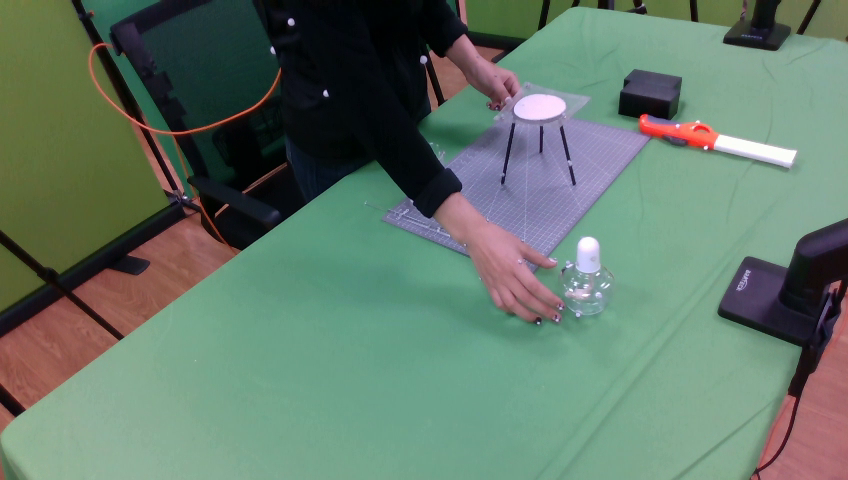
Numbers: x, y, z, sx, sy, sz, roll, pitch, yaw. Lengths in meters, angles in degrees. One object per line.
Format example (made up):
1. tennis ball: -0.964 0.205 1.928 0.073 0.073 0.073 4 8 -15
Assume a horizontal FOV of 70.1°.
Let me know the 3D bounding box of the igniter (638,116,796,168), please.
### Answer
1. igniter: 0.517 -0.181 1.093 0.274 0.025 0.057 23 65 32

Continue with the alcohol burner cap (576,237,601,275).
1. alcohol burner cap: 0.217 0.018 0.792 0.034 0.048 0.033 -7 35 5

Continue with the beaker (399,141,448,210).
1. beaker: 0.003 -0.107 1.043 0.074 0.101 0.083 -19 42 -10

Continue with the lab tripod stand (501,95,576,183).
1. lab tripod stand: 0.204 -0.173 1.056 0.148 0.132 0.147 -4 40 4

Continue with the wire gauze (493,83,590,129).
1. wire gauze: 0.198 -0.224 1.012 0.120 0.011 0.125 20 48 28

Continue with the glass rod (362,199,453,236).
1. glass rod: -0.031 -0.041 1.040 0.198 0.008 0.008 22 50 31

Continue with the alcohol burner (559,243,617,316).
1. alcohol burner: 0.222 0.045 0.816 0.078 0.119 0.077 -4 42 4
